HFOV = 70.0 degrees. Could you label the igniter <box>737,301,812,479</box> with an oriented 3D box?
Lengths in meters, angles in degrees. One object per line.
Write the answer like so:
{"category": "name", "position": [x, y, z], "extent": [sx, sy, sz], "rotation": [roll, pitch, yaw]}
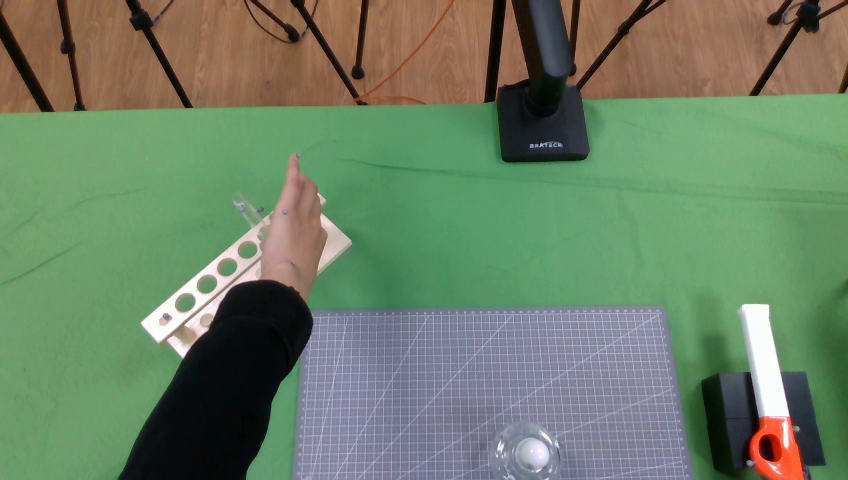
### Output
{"category": "igniter", "position": [0.374, 0.198, 0.650], "extent": [0.057, 0.025, 0.274], "rotation": [2, 66, 3]}

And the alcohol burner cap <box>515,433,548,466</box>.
{"category": "alcohol burner cap", "position": [0.109, 0.209, 0.606], "extent": [0.034, 0.048, 0.033], "rotation": [-1, 70, 4]}

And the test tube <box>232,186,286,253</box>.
{"category": "test tube", "position": [-0.185, -0.020, 0.698], "extent": [0.017, 0.151, 0.017], "rotation": [-2, 65, 5]}

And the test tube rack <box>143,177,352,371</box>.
{"category": "test tube rack", "position": [-0.201, 0.041, 0.727], "extent": [0.066, 0.086, 0.242], "rotation": [42, 74, 16]}

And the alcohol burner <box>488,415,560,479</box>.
{"category": "alcohol burner", "position": [0.109, 0.222, 0.640], "extent": [0.078, 0.120, 0.077], "rotation": [1, 66, -1]}
